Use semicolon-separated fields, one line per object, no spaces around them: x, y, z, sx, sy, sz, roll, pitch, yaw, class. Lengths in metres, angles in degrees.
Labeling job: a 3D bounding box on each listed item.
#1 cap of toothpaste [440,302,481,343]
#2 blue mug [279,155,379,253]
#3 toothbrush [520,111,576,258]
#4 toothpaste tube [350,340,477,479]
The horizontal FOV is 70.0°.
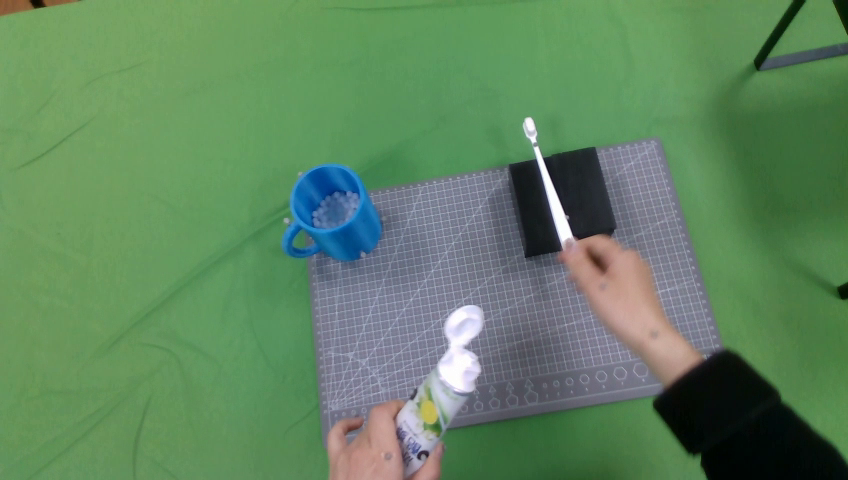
0.030;0.065;0.478;0.037;0.038;0.011;-35;38;-5;cap of toothpaste
-0.114;-0.028;0.695;0.116;0.106;0.082;-37;73;-5;blue mug
0.139;-0.065;0.676;0.014;0.017;0.180;-13;72;-3;toothbrush
-0.008;0.146;0.497;0.054;0.035;0.165;43;113;28;toothpaste tube
